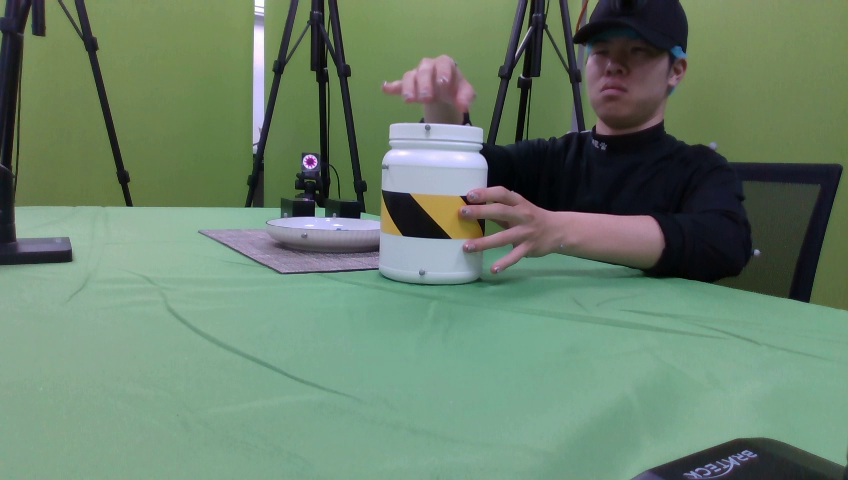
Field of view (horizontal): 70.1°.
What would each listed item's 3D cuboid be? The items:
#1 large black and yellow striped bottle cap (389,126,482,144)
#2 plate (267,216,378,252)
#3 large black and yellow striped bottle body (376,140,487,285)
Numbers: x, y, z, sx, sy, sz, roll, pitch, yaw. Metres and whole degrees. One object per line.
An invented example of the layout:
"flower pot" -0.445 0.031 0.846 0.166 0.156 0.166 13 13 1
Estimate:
"large black and yellow striped bottle cap" 0.014 -0.127 0.734 0.115 0.019 0.115 1 9 0
"plate" -0.145 -0.010 0.967 0.208 0.039 0.207 2 7 0
"large black and yellow striped bottle body" 0.010 -0.044 0.745 0.131 0.184 0.130 3 8 0
